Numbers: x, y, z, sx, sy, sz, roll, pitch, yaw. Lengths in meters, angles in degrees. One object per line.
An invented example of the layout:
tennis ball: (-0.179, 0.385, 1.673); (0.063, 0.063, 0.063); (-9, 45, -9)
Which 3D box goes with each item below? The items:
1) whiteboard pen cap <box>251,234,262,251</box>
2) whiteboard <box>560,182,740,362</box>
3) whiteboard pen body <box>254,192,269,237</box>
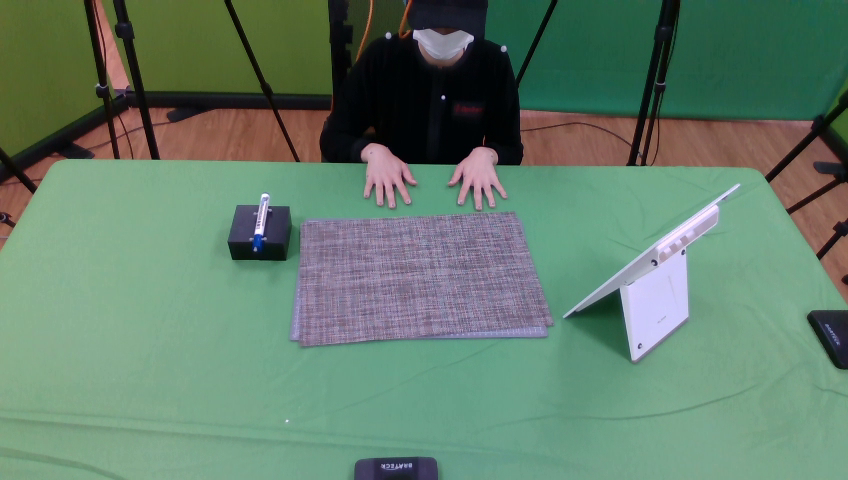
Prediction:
whiteboard pen cap: (-0.305, 0.003, 1.103); (0.018, 0.018, 0.033); (-2, 47, -6)
whiteboard: (0.406, 0.075, 1.001); (0.217, 0.306, 0.143); (-28, 73, -28)
whiteboard pen body: (-0.309, -0.040, 1.146); (0.017, 0.017, 0.140); (0, 46, -5)
